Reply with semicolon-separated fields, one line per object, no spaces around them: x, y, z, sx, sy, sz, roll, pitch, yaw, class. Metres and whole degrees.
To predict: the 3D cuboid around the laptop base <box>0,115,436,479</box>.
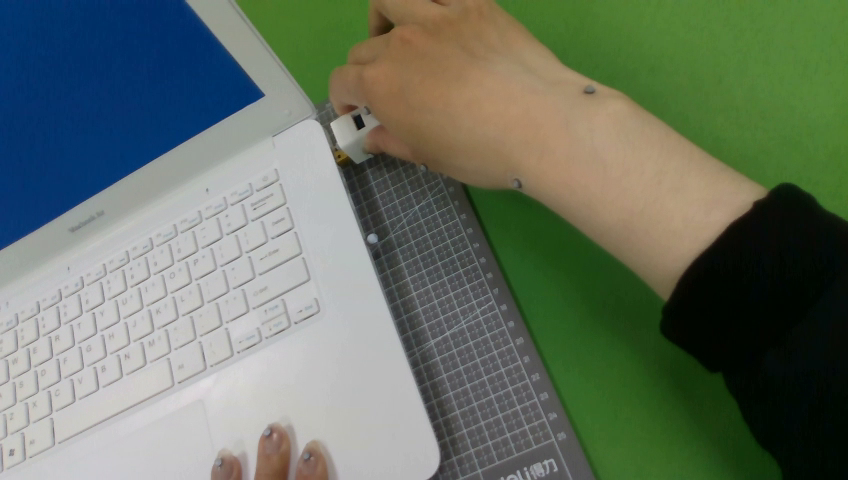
-0.183;0.092;0.376;0.354;0.023;0.233;-27;67;9;laptop base

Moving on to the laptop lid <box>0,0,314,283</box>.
-0.272;-0.073;0.343;0.356;0.244;0.013;-28;46;10;laptop lid

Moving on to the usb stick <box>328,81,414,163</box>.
-0.038;-0.068;0.367;0.059;0.027;0.021;-33;62;14;usb stick
